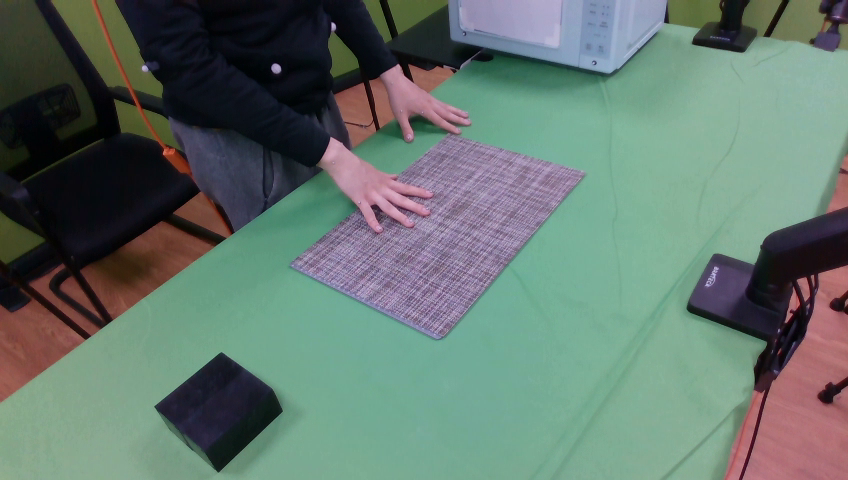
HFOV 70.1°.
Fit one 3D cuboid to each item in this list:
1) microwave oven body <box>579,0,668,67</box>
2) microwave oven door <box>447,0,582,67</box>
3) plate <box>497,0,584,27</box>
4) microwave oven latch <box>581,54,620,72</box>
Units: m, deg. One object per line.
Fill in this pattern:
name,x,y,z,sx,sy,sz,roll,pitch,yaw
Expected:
microwave oven body,0.325,-0.609,1.437,0.438,0.261,0.327,23,49,30
microwave oven door,0.203,-0.544,1.372,0.353,0.245,0.039,23,49,29
plate,0.286,-0.572,1.488,0.209,0.038,0.208,-5,41,5
microwave oven latch,0.386,-0.393,1.330,0.078,0.029,0.030,25,51,32
